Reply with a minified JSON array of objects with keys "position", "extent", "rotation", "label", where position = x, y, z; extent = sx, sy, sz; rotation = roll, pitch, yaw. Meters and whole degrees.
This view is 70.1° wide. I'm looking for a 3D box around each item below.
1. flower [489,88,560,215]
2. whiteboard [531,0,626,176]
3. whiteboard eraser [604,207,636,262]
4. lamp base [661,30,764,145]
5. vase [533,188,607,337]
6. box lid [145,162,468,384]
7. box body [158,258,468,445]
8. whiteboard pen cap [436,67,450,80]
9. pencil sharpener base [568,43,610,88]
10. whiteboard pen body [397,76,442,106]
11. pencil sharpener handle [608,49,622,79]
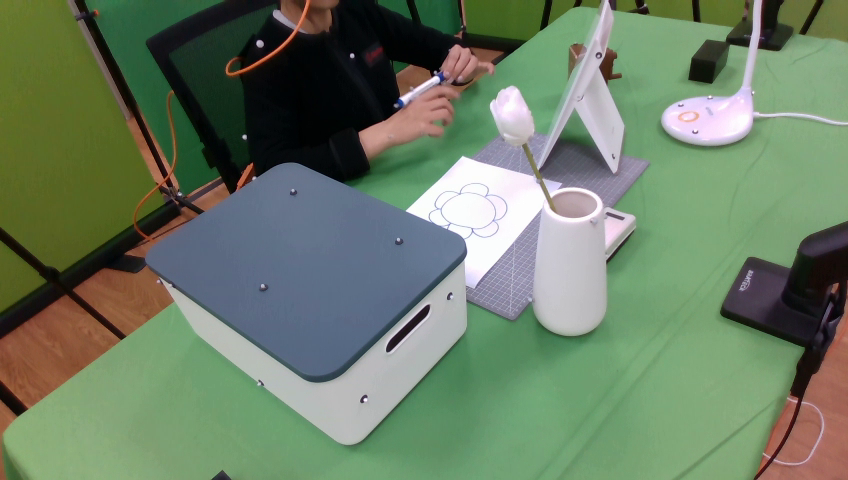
[{"position":[0.158,-0.027,0.720],"extent":[0.038,0.364,0.044],"rotation":[-14,44,23],"label":"flower"},{"position":[0.320,-0.259,1.050],"extent":[0.144,0.306,0.217],"rotation":[22,45,6],"label":"whiteboard"},{"position":[0.272,-0.003,0.919],"extent":[0.055,0.042,0.113],"rotation":[27,51,32],"label":"whiteboard eraser"},{"position":[0.535,-0.287,1.096],"extent":[0.179,0.181,0.159],"rotation":[-10,40,-4],"label":"lamp base"},{"position":[0.187,0.033,0.771],"extent":[0.098,0.201,0.097],"rotation":[-6,41,6],"label":"vase"},{"position":[-0.157,0.014,0.769],"extent":[0.368,0.015,0.264],"rotation":[25,51,33],"label":"box lid"},{"position":[-0.147,0.072,0.816],"extent":[0.361,0.161,0.255],"rotation":[24,50,33],"label":"box body"},{"position":[0.036,-0.328,1.199],"extent":[0.018,0.018,0.033],"rotation":[24,55,33],"label":"whiteboard pen cap"},{"position":[0.345,-0.352,1.263],"extent":[0.077,0.107,0.061],"rotation":[-8,40,1],"label":"pencil sharpener base"},{"position":[-0.001,-0.293,1.166],"extent":[0.017,0.017,0.141],"rotation":[25,49,33],"label":"whiteboard pen body"},{"position":[0.394,-0.368,1.253],"extent":[0.030,0.068,0.036],"rotation":[-8,32,1],"label":"pencil sharpener handle"}]
